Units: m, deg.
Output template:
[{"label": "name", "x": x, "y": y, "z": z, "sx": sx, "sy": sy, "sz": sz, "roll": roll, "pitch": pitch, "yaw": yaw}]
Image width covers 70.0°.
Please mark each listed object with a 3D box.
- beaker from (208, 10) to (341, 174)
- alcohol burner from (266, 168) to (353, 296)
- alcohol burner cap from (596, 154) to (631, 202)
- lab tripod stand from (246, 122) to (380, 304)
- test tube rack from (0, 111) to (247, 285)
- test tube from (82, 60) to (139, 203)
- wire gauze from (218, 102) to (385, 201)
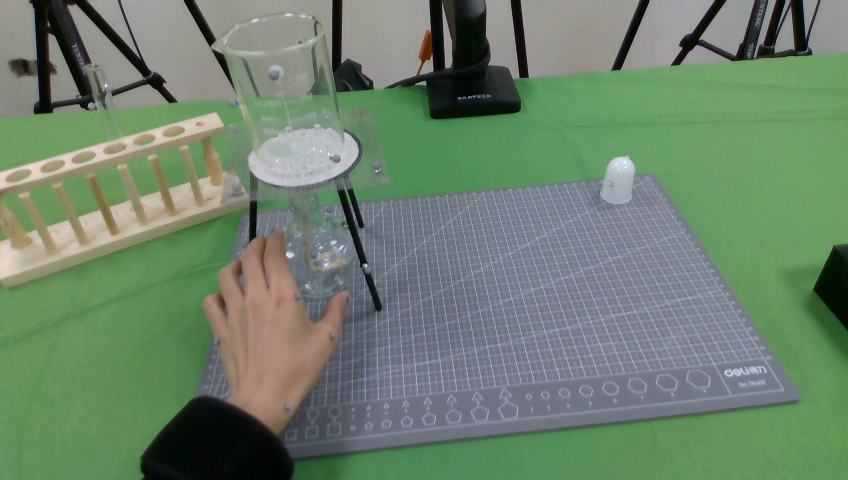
[{"label": "beaker", "x": -0.105, "y": -0.106, "z": 0.448, "sx": 0.084, "sy": 0.101, "sz": 0.073, "roll": -4, "pitch": 40, "yaw": 1}, {"label": "alcohol burner", "x": -0.102, "y": -0.010, "z": 0.528, "sx": 0.078, "sy": 0.120, "sz": 0.077, "roll": -2, "pitch": 39, "yaw": 2}, {"label": "alcohol burner cap", "x": 0.197, "y": -0.067, "z": 0.628, "sx": 0.034, "sy": 0.048, "sz": 0.033, "roll": -2, "pitch": 40, "yaw": 2}, {"label": "lab tripod stand", "x": -0.096, "y": -0.022, "z": 0.526, "sx": 0.148, "sy": 0.133, "sz": 0.147, "roll": -3, "pitch": 42, "yaw": 3}, {"label": "test tube rack", "x": -0.314, "y": -0.048, "z": 0.614, "sx": 0.243, "sy": 0.086, "sz": 0.066, "roll": -22, "pitch": 43, "yaw": -20}, {"label": "test tube", "x": -0.308, "y": -0.102, "z": 0.600, "sx": 0.017, "sy": 0.151, "sz": 0.017, "roll": 0, "pitch": 34, "yaw": 0}, {"label": "wire gauze", "x": -0.100, "y": -0.071, "z": 0.483, "sx": 0.125, "sy": 0.011, "sz": 0.120, "roll": -11, "pitch": 39, "yaw": -4}]
